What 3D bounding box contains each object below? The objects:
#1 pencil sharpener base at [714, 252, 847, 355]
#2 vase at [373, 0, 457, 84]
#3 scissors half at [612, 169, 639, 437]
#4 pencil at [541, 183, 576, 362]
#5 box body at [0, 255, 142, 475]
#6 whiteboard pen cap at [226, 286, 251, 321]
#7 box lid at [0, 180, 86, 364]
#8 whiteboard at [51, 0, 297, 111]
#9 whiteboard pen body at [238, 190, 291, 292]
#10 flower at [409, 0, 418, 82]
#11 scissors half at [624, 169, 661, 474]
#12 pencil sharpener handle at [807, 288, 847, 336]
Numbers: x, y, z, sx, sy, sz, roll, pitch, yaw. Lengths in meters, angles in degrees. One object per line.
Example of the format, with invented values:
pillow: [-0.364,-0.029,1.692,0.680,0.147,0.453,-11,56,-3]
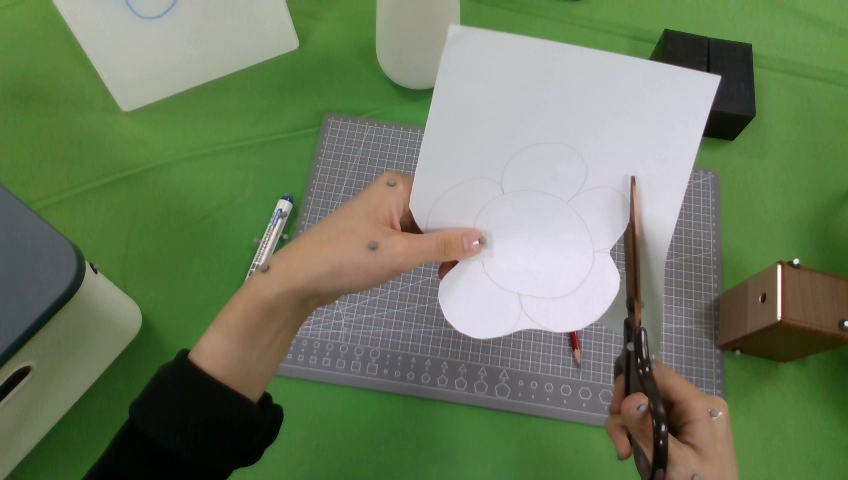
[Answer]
pencil sharpener base: [0.335,0.063,0.569,0.077,0.107,0.061,13,68,0]
vase: [-0.010,-0.256,0.635,0.098,0.201,0.097,0,67,0]
scissors half: [0.123,0.043,0.366,0.013,0.176,0.040,-2,24,6]
pencil: [0.140,0.030,0.628,0.012,0.012,0.192,-4,71,-3]
box body: [-0.472,0.038,0.524,0.362,0.161,0.253,34,72,11]
whiteboard pen cap: [-0.182,0.063,0.599,0.018,0.018,0.033,14,64,4]
box lid: [-0.472,0.009,0.455,0.370,0.015,0.262,34,71,11]
whiteboard: [-0.295,-0.333,0.631,0.217,0.308,0.142,-24,52,-10]
whiteboard pen body: [-0.167,0.010,0.622,0.017,0.017,0.140,15,67,5]
flower: [-0.013,-0.301,0.563,0.044,0.365,0.038,2,50,3]
scissors half: [0.122,0.047,0.345,0.013,0.040,0.175,-4,90,1]
pencil sharpener handle: [0.386,0.071,0.558,0.030,0.068,0.035,13,63,0]
